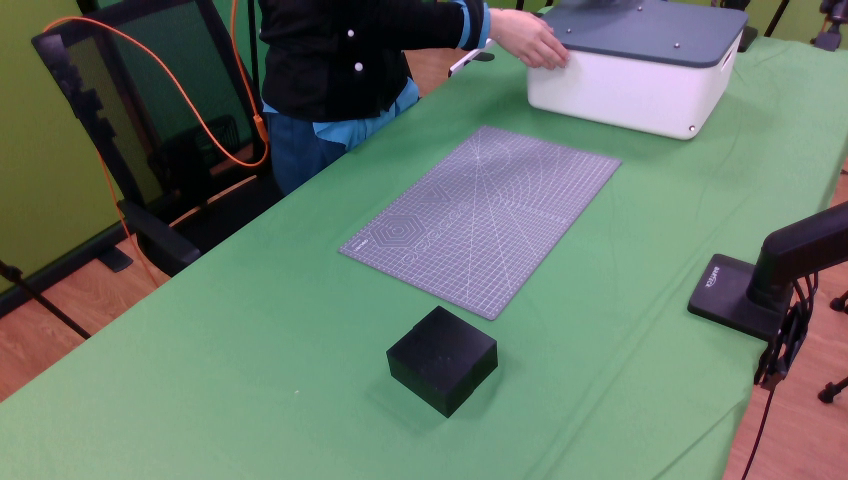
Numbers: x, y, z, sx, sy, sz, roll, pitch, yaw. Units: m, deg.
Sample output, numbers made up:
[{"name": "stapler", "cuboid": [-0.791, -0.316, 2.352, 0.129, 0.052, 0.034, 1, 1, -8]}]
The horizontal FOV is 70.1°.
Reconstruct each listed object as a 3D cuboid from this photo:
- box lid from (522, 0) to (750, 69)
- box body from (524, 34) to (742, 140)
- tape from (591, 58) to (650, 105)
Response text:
[{"name": "box lid", "cuboid": [0.405, -0.409, 1.163, 0.369, 0.015, 0.264, 20, 47, 29]}, {"name": "box body", "cuboid": [0.412, -0.354, 1.212, 0.361, 0.161, 0.254, 20, 48, 29]}, {"name": "tape", "cuboid": [0.407, -0.331, 1.259, 0.117, 0.053, 0.116, -2, 40, 2]}]
